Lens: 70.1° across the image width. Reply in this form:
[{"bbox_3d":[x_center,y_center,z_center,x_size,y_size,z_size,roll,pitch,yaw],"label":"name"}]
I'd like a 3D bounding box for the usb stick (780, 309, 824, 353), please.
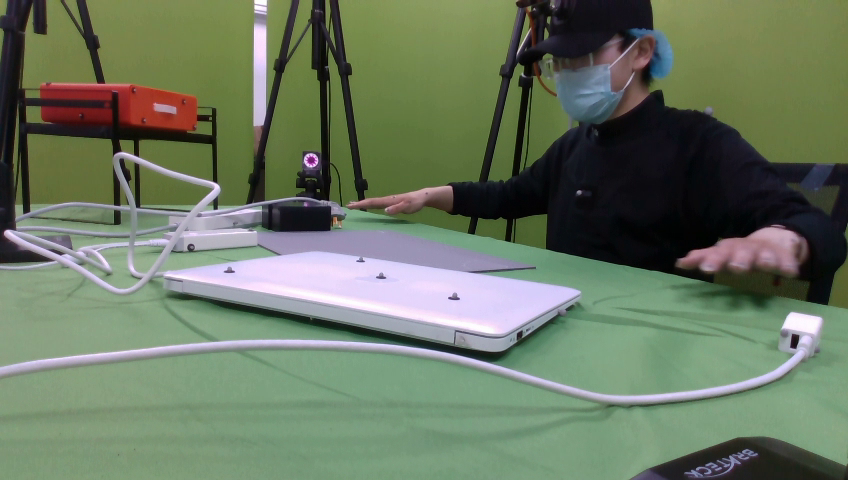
[{"bbox_3d":[0.311,0.072,0.496,0.027,0.021,0.059,7,15,34],"label":"usb stick"}]

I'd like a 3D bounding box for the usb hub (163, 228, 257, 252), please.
[{"bbox_3d":[-0.313,-0.001,0.894,0.049,0.025,0.126,9,10,41],"label":"usb hub"}]

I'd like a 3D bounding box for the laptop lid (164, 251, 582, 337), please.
[{"bbox_3d":[-0.045,0.040,0.599,0.355,0.013,0.243,7,7,30],"label":"laptop lid"}]

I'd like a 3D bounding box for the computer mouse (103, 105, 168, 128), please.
[{"bbox_3d":[-0.582,-0.249,1.223,0.118,0.041,0.062,2,3,-39],"label":"computer mouse"}]

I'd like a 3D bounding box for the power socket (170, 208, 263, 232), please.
[{"bbox_3d":[-0.381,-0.038,1.129,0.072,0.032,0.227,4,8,15],"label":"power socket"}]

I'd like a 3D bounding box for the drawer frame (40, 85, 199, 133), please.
[{"bbox_3d":[-0.612,-0.266,1.235,0.213,0.082,0.202,4,8,15],"label":"drawer frame"}]

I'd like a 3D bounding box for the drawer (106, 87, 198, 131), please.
[{"bbox_3d":[-0.609,-0.264,1.235,0.211,0.073,0.195,3,8,16],"label":"drawer"}]

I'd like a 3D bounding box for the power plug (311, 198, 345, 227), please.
[{"bbox_3d":[-0.195,-0.054,1.220,0.073,0.052,0.035,4,-22,-20],"label":"power plug"}]

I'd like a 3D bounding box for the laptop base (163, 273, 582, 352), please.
[{"bbox_3d":[-0.046,0.052,0.598,0.353,0.023,0.236,7,6,28],"label":"laptop base"}]
